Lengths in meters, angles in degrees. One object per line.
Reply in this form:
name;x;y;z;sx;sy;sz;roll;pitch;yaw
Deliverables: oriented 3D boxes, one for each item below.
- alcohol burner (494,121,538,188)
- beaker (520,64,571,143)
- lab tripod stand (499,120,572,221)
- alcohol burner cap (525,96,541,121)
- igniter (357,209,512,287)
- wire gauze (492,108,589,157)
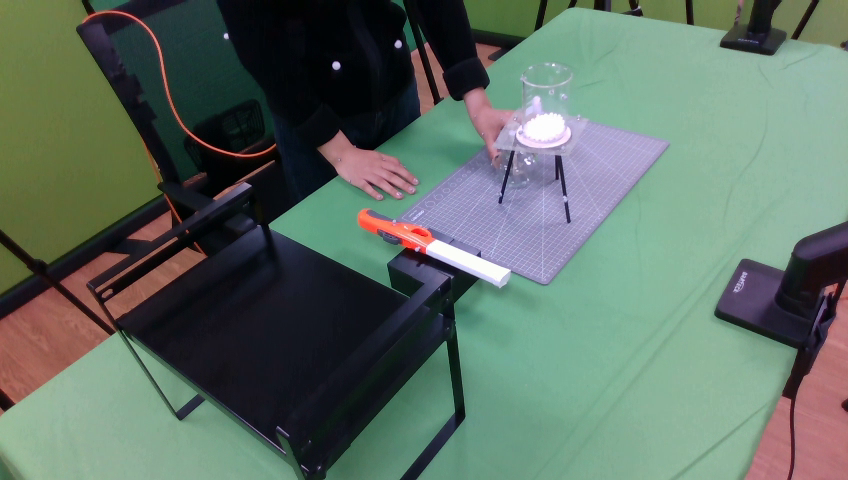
alcohol burner;0.160;-0.152;1.056;0.078;0.119;0.077;-6;39;5
beaker;0.187;-0.208;0.924;0.073;0.101;0.084;23;49;30
lab tripod stand;0.198;-0.117;0.992;0.148;0.132;0.147;-3;40;3
alcohol burner cap;0.225;-0.273;1.243;0.034;0.048;0.033;-2;41;3
igniter;0.004;0.006;0.891;0.274;0.025;0.057;23;37;30
wire gauze;0.185;-0.169;0.954;0.121;0.011;0.125;13;46;22
